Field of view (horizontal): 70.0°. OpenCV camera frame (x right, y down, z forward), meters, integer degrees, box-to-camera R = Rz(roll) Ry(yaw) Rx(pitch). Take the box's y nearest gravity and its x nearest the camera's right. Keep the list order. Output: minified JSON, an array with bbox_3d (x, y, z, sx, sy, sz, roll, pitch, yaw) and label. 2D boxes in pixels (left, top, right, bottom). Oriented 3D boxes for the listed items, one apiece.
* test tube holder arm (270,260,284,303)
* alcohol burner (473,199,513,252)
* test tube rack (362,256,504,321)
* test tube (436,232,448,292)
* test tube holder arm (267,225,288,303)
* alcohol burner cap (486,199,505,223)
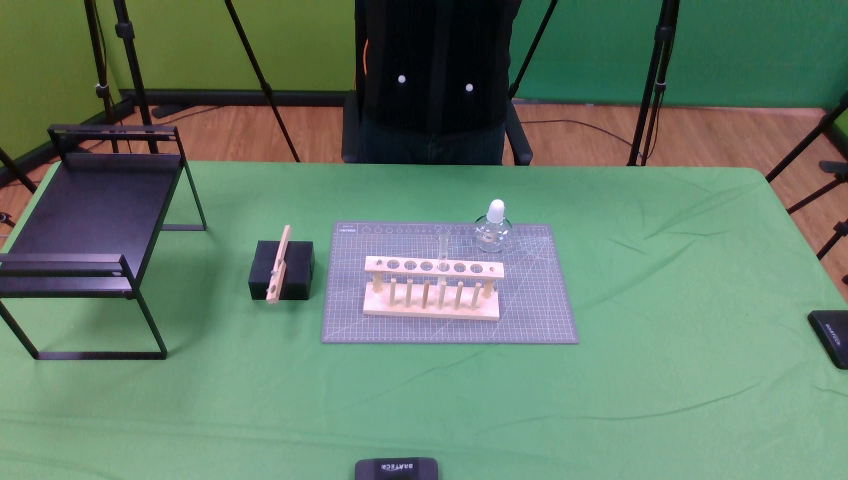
[{"bbox_3d":[-0.252,0.071,1.045,0.010,0.015,0.087,-4,46,2],"label":"test tube holder arm"},{"bbox_3d":[0.135,-0.034,1.174,0.078,0.120,0.077,1,47,-1],"label":"alcohol burner"},{"bbox_3d":[0.015,0.085,1.069,0.242,0.085,0.066,3,45,-2],"label":"test tube rack"},{"bbox_3d":[0.030,0.042,1.042,0.017,0.151,0.017,1,48,-1],"label":"test tube"},{"bbox_3d":[-0.260,0.039,1.077,0.013,0.015,0.177,-5,46,2],"label":"test tube holder arm"},{"bbox_3d":[0.136,-0.058,1.148,0.034,0.048,0.033,4,52,-4],"label":"alcohol burner cap"}]
